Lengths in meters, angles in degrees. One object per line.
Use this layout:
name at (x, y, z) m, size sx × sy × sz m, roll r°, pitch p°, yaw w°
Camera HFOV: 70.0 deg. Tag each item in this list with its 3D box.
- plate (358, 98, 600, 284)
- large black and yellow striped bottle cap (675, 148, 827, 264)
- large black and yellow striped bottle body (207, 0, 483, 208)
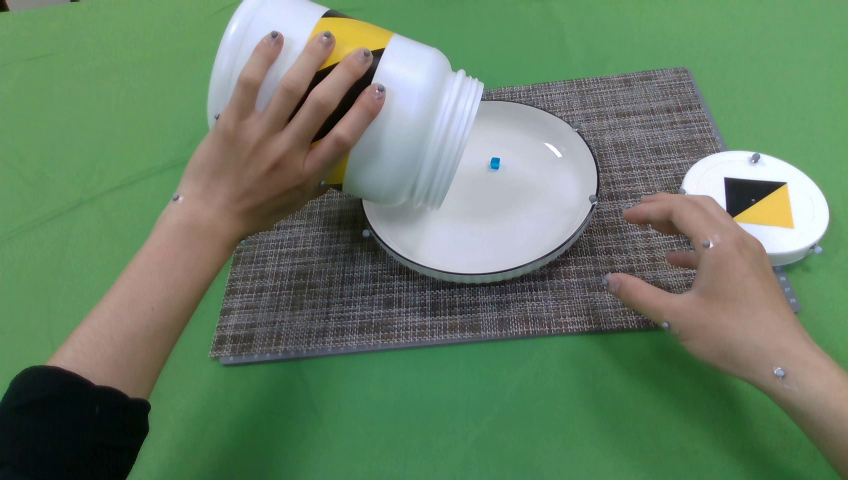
plate at (0.048, -0.044, 0.536) m, size 0.207 × 0.039 × 0.205 m, roll -4°, pitch 52°, yaw 6°
large black and yellow striped bottle cap at (0.271, -0.031, 0.504) m, size 0.115 × 0.019 × 0.114 m, roll -2°, pitch 54°, yaw 3°
large black and yellow striped bottle body at (-0.057, -0.106, 0.477) m, size 0.184 × 0.131 × 0.130 m, roll 20°, pitch 55°, yaw -4°
